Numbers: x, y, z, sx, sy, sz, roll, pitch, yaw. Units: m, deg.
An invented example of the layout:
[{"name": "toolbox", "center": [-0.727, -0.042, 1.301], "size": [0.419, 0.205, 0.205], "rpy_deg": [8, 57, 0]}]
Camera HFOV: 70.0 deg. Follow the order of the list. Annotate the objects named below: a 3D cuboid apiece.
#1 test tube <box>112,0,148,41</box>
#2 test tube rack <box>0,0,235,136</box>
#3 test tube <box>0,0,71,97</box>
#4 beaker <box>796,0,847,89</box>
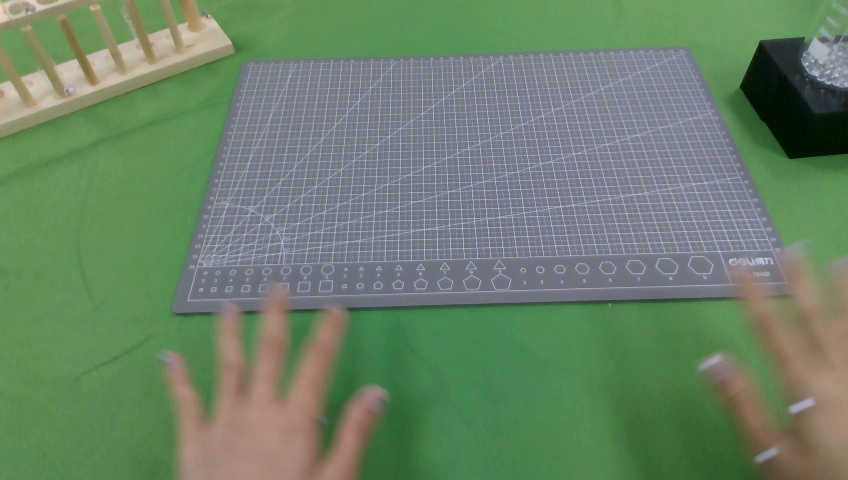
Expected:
[{"name": "test tube", "center": [-0.293, -0.249, 0.554], "size": [0.017, 0.152, 0.017], "rpy_deg": [-4, 52, 5]}, {"name": "test tube rack", "center": [-0.316, -0.189, 0.573], "size": [0.242, 0.086, 0.066], "rpy_deg": [-27, 55, -18]}, {"name": "test tube", "center": [-0.343, -0.187, 0.515], "size": [0.017, 0.152, 0.017], "rpy_deg": [-1, 50, 1]}, {"name": "beaker", "center": [0.344, -0.177, 0.471], "size": [0.074, 0.101, 0.083], "rpy_deg": [-24, 54, -16]}]
